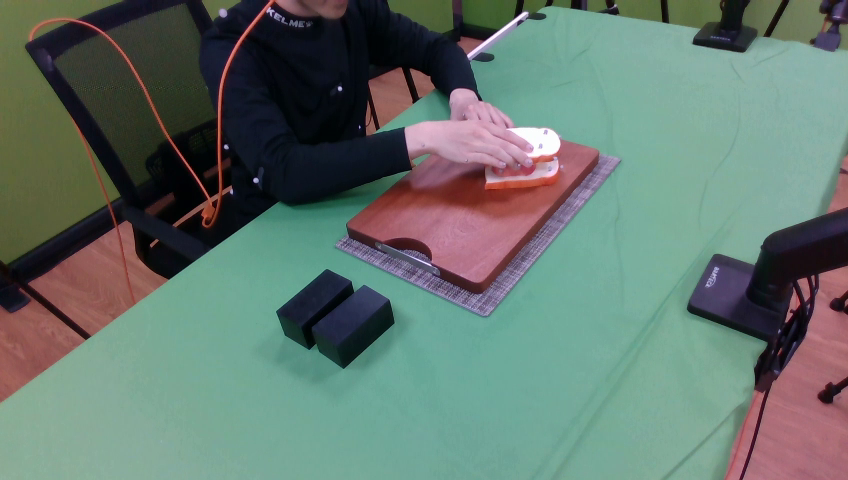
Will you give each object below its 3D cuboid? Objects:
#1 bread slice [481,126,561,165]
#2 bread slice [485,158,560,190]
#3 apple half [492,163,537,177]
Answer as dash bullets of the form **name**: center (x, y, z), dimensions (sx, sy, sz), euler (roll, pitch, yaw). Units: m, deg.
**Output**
- **bread slice**: center (0.163, -0.162, 1.023), dimensions (0.134, 0.018, 0.106), euler (-3, 40, 0)
- **bread slice**: center (0.170, -0.128, 1.054), dimensions (0.131, 0.019, 0.104), euler (-4, 42, 5)
- **apple half**: center (0.154, -0.141, 1.038), dimensions (0.081, 0.033, 0.081), euler (-6, 40, 6)
